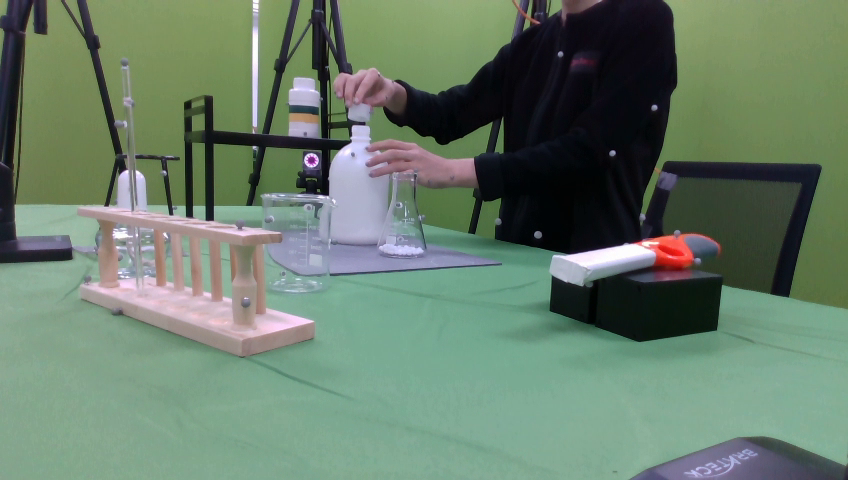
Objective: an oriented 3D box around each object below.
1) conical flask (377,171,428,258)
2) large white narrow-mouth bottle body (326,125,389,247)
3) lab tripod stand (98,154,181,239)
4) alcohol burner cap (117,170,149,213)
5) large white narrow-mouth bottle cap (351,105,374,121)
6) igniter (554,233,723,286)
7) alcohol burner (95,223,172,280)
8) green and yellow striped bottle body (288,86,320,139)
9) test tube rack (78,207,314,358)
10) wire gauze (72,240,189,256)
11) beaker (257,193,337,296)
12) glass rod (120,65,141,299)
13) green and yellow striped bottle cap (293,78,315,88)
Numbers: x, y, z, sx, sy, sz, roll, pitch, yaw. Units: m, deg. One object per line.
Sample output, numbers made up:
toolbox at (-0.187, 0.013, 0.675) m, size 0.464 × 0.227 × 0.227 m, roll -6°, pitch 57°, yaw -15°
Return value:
conical flask at (-0.029, -0.038, 0.875) m, size 0.075 × 0.122 × 0.075 m, roll 2°, pitch 7°, yaw 0°
large white narrow-mouth bottle body at (-0.107, -0.091, 0.996) m, size 0.102 × 0.194 × 0.101 m, roll 4°, pitch 9°, yaw 0°
lab tripod stand at (-0.427, -0.066, 0.942) m, size 0.148 × 0.131 × 0.148 m, roll 1°, pitch 6°, yaw 0°
alcohol burner cap at (-0.320, -0.052, 0.661) m, size 0.034 × 0.048 × 0.034 m, roll -3°, pitch 0°, yaw 0°
large white narrow-mouth bottle cap at (-0.097, -0.202, 0.961) m, size 0.038 × 0.024 × 0.037 m, roll 3°, pitch 9°, yaw 0°
igniter at (0.214, 0.015, 0.570) m, size 0.278 × 0.025 × 0.057 m, roll -5°, pitch 22°, yaw -44°
alcohol burner at (-0.320, -0.016, 0.667) m, size 0.078 × 0.119 × 0.078 m, roll 0°, pitch 7°, yaw 0°
green and yellow striped bottle body at (-0.250, -0.272, 1.261) m, size 0.063 × 0.119 × 0.063 m, roll 3°, pitch 7°, yaw 0°
test tube rack at (-0.197, 0.023, 0.499) m, size 0.241 × 0.085 × 0.067 m, roll 8°, pitch 8°, yaw 37°
wire gauze at (-0.399, 0.013, 0.820) m, size 0.126 × 0.011 × 0.121 m, roll -3°, pitch 8°, yaw -37°
beaker at (-0.130, 0.004, 0.628) m, size 0.084 × 0.100 × 0.074 m, roll 5°, pitch 8°, yaw 15°
glass rod at (-0.249, -0.047, 0.513) m, size 0.008 × 0.199 × 0.008 m, roll -1°, pitch 4°, yaw 0°
green and yellow striped bottle cap at (-0.248, -0.323, 1.256) m, size 0.045 × 0.020 × 0.045 m, roll 4°, pitch 8°, yaw 0°
